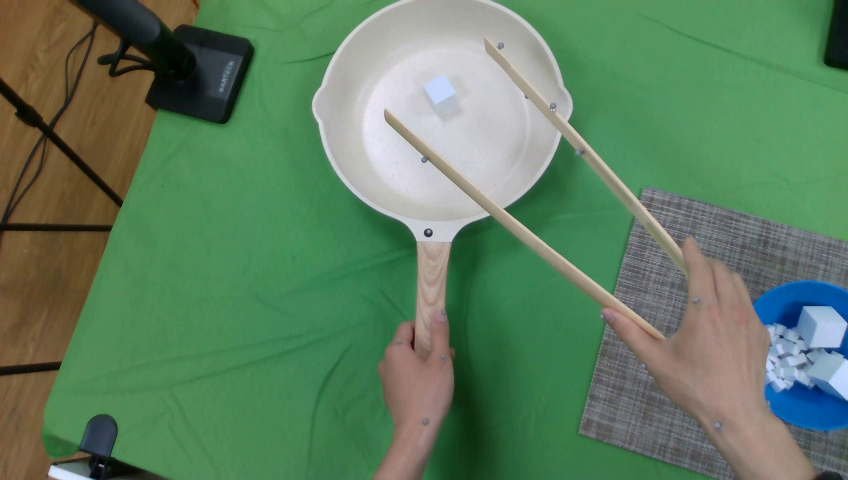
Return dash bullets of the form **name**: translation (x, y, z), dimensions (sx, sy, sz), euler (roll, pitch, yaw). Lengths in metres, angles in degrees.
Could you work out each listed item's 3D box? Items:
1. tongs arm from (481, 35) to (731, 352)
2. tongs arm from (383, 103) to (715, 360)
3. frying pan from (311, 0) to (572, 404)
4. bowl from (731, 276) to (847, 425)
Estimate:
- **tongs arm**: translation (0.152, -0.061, 0.578), dimensions (0.051, 0.027, 0.381), euler (-33, 68, -10)
- **tongs arm**: translation (0.095, -0.018, 0.566), dimensions (0.028, 0.028, 0.384), euler (-42, 69, -17)
- **frying pan**: translation (0.013, -0.058, 0.706), dimensions (0.306, 0.103, 0.484), euler (2, 71, 7)
- **bowl**: translation (0.396, 0.117, 0.646), dimensions (0.151, 0.077, 0.150), euler (-1, 79, 5)
